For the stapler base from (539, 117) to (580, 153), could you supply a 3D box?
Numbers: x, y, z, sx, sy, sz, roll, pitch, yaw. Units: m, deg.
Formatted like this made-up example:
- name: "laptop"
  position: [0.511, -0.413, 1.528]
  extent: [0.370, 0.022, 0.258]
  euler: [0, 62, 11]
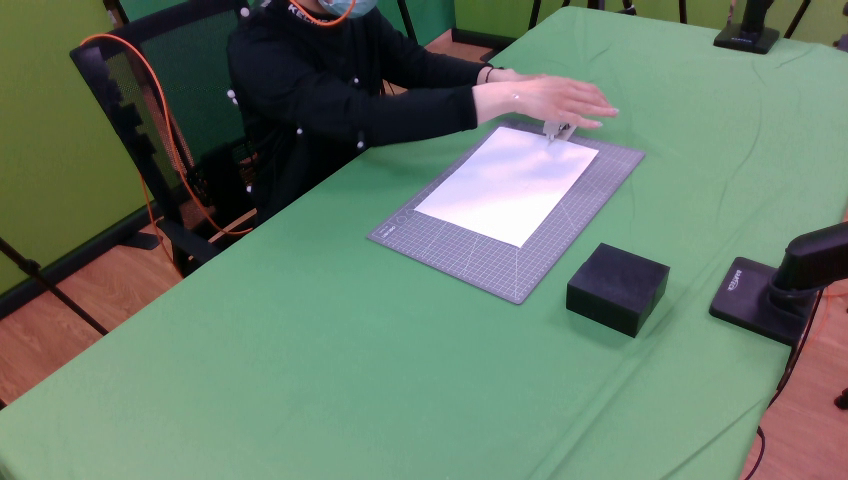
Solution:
- name: "stapler base"
  position: [0.264, -0.213, 1.175]
  extent: [0.041, 0.024, 0.131]
  euler: [19, 45, 25]

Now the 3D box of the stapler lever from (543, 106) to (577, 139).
- name: "stapler lever"
  position: [0.262, -0.234, 1.160]
  extent: [0.026, 0.040, 0.118]
  euler: [19, 45, 25]
